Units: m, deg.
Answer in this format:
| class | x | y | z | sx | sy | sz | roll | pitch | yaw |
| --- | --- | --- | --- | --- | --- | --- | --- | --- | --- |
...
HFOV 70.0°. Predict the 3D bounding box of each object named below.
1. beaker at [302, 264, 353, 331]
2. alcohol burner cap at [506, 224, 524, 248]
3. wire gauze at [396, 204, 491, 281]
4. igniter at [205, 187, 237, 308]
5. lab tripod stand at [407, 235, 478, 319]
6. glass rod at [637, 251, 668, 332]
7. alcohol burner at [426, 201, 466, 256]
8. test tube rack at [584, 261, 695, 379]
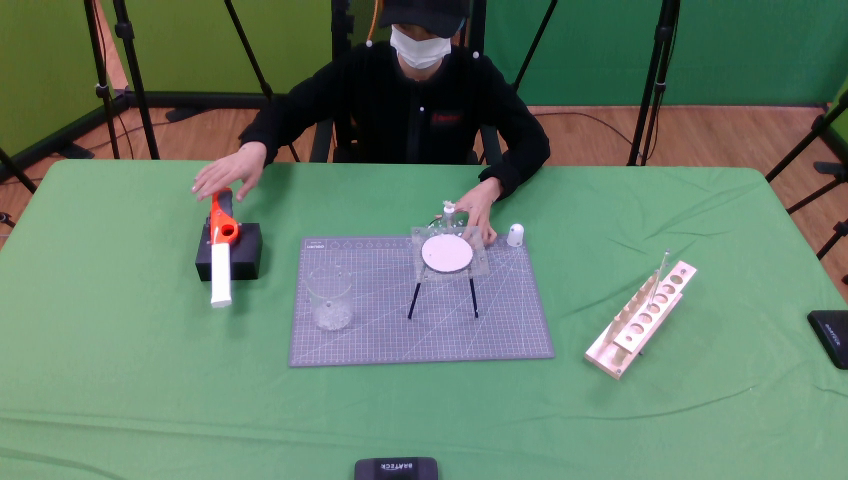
| class | x | y | z | sx | sy | sz | roll | pitch | yaw |
| --- | --- | --- | --- | --- | --- | --- | --- | --- | --- |
| beaker | -0.162 | 0.101 | 1.030 | 0.084 | 0.101 | 0.073 | 4 | 46 | 0 |
| alcohol burner cap | 0.183 | -0.010 | 1.206 | 0.034 | 0.048 | 0.033 | 1 | 46 | -1 |
| wire gauze | 0.032 | 0.004 | 0.999 | 0.125 | 0.011 | 0.120 | -22 | 54 | -14 |
| igniter | -0.367 | 0.004 | 1.097 | 0.057 | 0.025 | 0.274 | -7 | 51 | -11 |
| lab tripod stand | 0.032 | 0.065 | 1.057 | 0.148 | 0.132 | 0.147 | 1 | 45 | -1 |
| glass rod | 0.378 | 0.089 | 1.005 | 0.008 | 0.201 | 0.008 | -1 | 44 | 1 |
| alcohol burner | 0.043 | -0.026 | 1.161 | 0.078 | 0.120 | 0.077 | 1 | 46 | -1 |
| test tube rack | 0.380 | 0.127 | 1.062 | 0.066 | 0.085 | 0.242 | 34 | 53 | 26 |
